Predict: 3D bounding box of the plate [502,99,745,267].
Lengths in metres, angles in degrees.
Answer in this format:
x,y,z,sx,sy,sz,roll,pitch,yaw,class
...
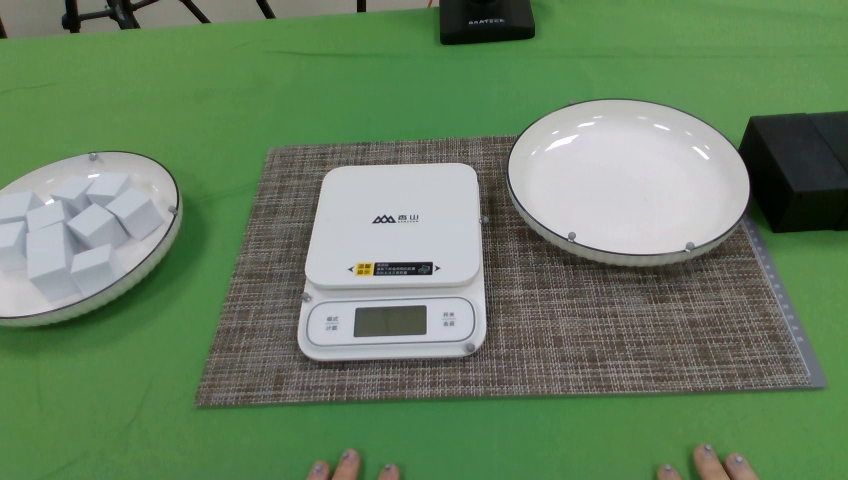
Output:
x,y,z,sx,sy,sz,roll,pitch,yaw,class
0.175,-0.052,0.551,0.207,0.039,0.205,-3,48,3,plate

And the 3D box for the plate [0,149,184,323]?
x,y,z,sx,sy,sz,roll,pitch,yaw,class
-0.324,-0.004,0.561,0.209,0.038,0.207,-2,48,3,plate

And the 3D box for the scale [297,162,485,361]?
x,y,z,sx,sy,sz,roll,pitch,yaw,class
-0.025,0.010,0.519,0.148,0.032,0.199,-2,49,4,scale
